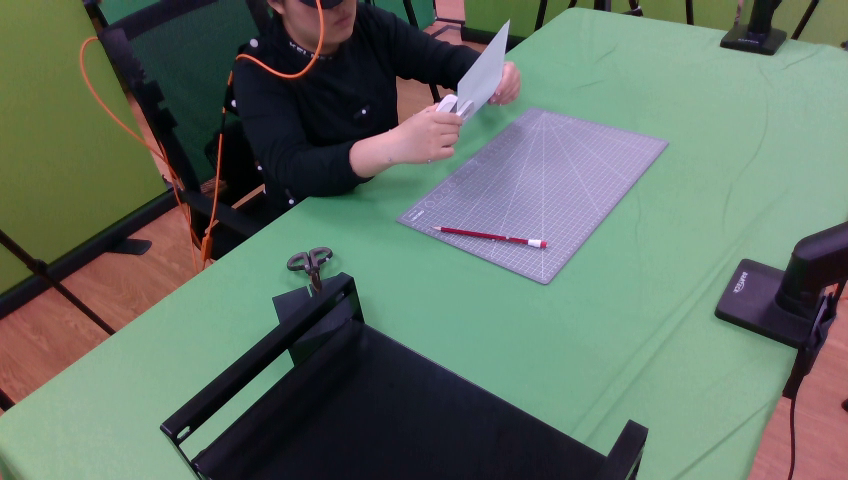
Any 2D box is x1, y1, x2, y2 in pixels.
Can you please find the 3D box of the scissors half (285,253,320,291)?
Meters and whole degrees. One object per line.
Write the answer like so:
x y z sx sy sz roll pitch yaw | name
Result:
-0.178 0.049 0.909 0.040 0.013 0.174 -16 19 -20 | scissors half

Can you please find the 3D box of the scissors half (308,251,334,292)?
-0.159 0.046 0.913 0.040 0.013 0.174 -5 18 -4 | scissors half

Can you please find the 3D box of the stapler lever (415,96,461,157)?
0.022 -0.198 1.042 0.040 0.027 0.118 41 84 17 | stapler lever

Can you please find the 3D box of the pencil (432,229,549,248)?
0.103 -0.005 0.970 0.193 0.012 0.012 8 42 18 | pencil

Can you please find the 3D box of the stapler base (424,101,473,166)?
0.037 -0.188 1.038 0.024 0.041 0.130 34 82 16 | stapler base
